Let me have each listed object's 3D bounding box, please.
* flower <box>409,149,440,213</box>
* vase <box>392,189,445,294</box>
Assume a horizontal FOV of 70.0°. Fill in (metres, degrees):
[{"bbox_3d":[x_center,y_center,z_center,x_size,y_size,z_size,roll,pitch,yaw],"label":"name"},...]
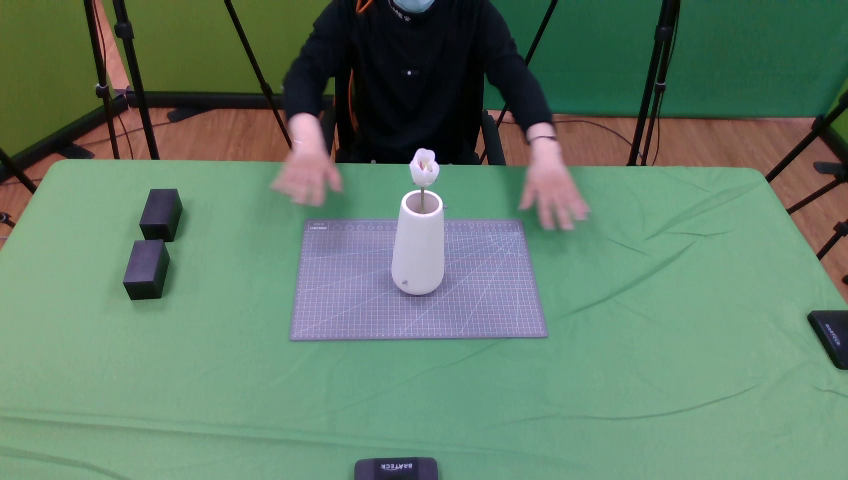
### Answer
[{"bbox_3d":[-0.005,-0.038,0.989,0.038,0.363,0.044,-32,71,-15],"label":"flower"},{"bbox_3d":[-0.006,0.006,1.060,0.098,0.201,0.097,2,48,-2],"label":"vase"}]
